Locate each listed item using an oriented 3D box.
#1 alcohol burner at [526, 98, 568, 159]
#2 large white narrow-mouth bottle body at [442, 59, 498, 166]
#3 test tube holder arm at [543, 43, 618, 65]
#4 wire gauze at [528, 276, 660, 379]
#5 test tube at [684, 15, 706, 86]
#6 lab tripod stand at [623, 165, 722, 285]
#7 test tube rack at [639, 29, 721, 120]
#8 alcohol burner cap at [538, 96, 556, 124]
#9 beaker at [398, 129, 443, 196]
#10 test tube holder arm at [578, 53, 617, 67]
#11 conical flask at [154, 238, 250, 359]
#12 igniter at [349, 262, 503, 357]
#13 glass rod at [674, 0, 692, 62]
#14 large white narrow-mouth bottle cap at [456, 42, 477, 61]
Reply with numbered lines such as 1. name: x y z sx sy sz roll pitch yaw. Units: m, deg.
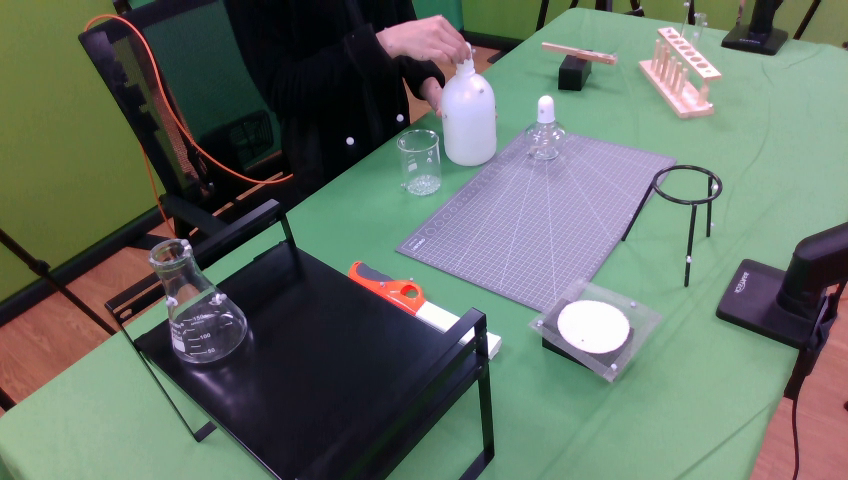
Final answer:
1. alcohol burner: 0.228 -0.210 1.118 0.078 0.119 0.077 -5 43 5
2. large white narrow-mouth bottle body: 0.084 -0.242 1.121 0.102 0.195 0.101 -4 40 4
3. test tube holder arm: 0.344 -0.413 1.340 0.177 0.015 0.013 25 51 31
4. wire gauze: 0.213 0.103 0.763 0.124 0.011 0.122 30 52 35
5. test tube: 0.541 -0.378 1.215 0.017 0.151 0.017 -2 44 3
6. lab tripod stand: 0.365 -0.030 0.874 0.148 0.132 0.147 -6 41 6
7. test tube rack: 0.527 -0.351 1.262 0.067 0.085 0.241 -8 40 1
8. alcohol burner cap: 0.222 -0.237 1.095 0.034 0.048 0.033 -7 35 5
9. beaker: -0.002 -0.139 1.087 0.073 0.101 0.084 28 51 35
10. test tube holder arm: 0.376 -0.393 1.314 0.087 0.015 0.010 26 51 32
11. conical flask: -0.225 0.055 0.597 0.075 0.122 0.075 -5 41 4
12. igniter: -0.008 0.093 0.870 0.274 0.025 0.057 24 60 33
13. glass rod: 0.536 -0.437 1.257 0.008 0.200 0.008 0 39 1
14. large white narrow-mouth bottle cap: 0.074 -0.329 1.054 0.038 0.024 0.037 -4 41 4
